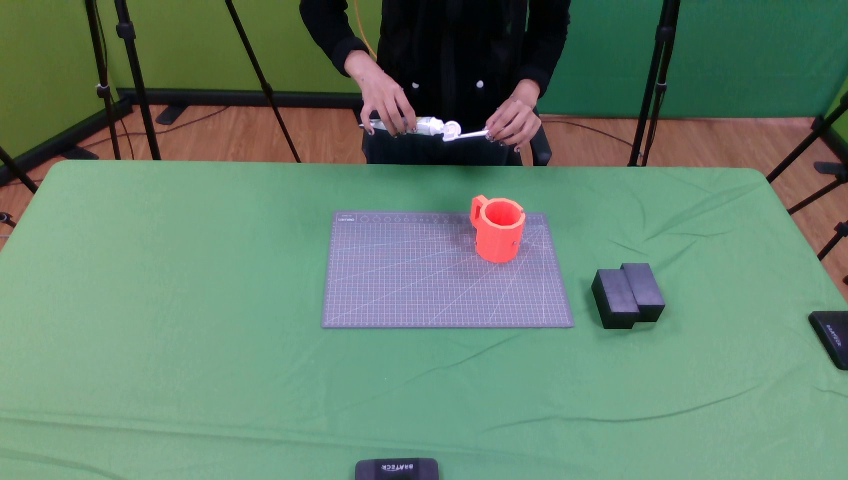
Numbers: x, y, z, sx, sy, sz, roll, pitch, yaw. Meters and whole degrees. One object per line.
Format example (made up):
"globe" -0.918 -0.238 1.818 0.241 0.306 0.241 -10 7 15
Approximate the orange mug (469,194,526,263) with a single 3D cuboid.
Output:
"orange mug" 0.136 -0.030 1.180 0.083 0.101 0.125 -26 58 -26

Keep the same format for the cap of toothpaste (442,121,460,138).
"cap of toothpaste" 0.051 -0.212 1.163 0.037 0.011 0.037 0 89 -4

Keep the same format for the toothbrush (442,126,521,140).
"toothbrush" 0.117 -0.212 1.185 0.182 0.014 0.016 -10 55 -28

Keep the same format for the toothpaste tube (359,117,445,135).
"toothpaste tube" -0.039 -0.225 1.167 0.165 0.034 0.055 8 20 16
